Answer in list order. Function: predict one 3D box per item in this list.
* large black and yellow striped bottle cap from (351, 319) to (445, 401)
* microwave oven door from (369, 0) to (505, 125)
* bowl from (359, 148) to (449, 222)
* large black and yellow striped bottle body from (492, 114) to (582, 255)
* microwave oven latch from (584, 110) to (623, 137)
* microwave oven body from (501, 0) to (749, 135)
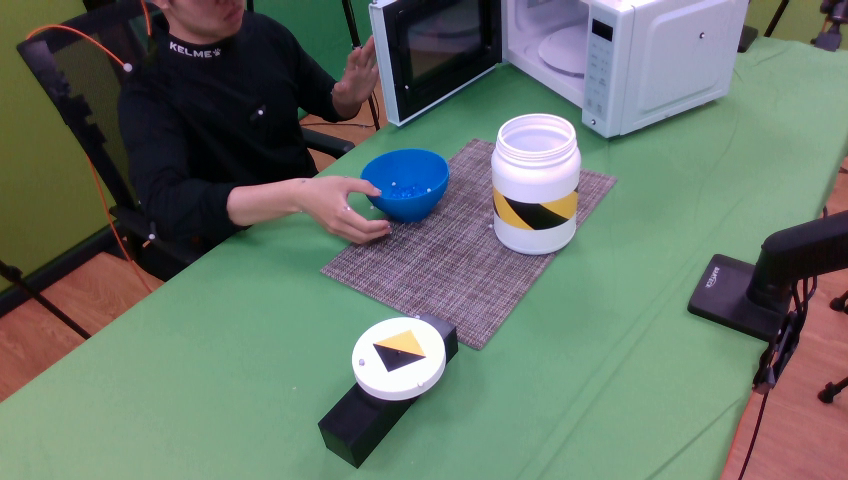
[{"bbox_3d":[-0.031,0.143,0.735,0.115,0.019,0.114,-3,40,3],"label":"large black and yellow striped bottle cap"},{"bbox_3d":[0.042,-0.425,1.263,0.039,0.245,0.357,29,52,34],"label":"microwave oven door"},{"bbox_3d":[-0.029,-0.083,1.022,0.151,0.077,0.150,-4,40,4],"label":"bowl"},{"bbox_3d":[0.169,-0.083,0.912,0.131,0.185,0.130,-4,41,4],"label":"large black and yellow striped bottle body"},{"bbox_3d":[0.337,-0.222,1.142,0.030,0.029,0.078,-21,42,-14],"label":"microwave oven latch"},{"bbox_3d":[0.382,-0.444,1.246,0.327,0.261,0.437,-22,42,-16],"label":"microwave oven body"}]
